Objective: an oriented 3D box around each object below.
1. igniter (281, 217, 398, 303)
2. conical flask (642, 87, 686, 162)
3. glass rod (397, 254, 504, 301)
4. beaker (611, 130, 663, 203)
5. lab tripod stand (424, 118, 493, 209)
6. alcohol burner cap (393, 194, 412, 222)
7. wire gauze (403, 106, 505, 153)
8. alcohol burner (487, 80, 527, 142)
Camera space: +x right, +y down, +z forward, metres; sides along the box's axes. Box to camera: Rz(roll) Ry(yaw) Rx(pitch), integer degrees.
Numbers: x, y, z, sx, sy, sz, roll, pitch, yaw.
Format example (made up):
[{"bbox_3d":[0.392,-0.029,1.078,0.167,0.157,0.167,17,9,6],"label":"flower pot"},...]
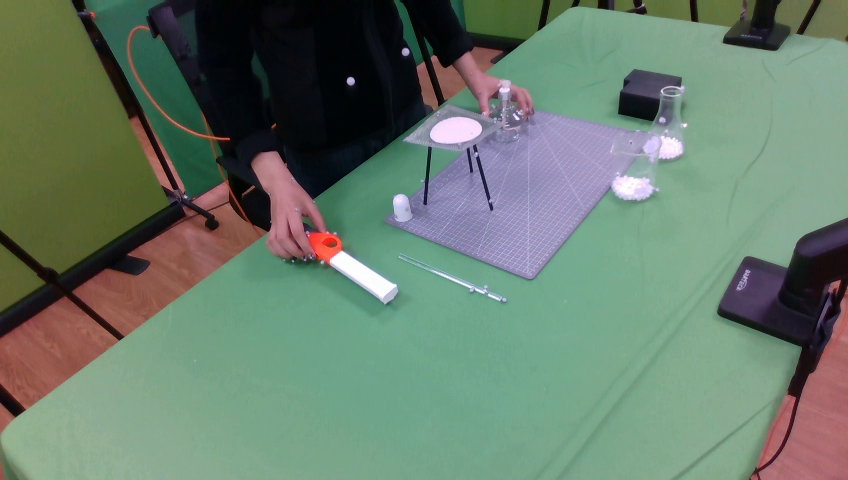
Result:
[{"bbox_3d":[-0.144,0.025,0.961,0.274,0.025,0.057,30,55,36],"label":"igniter"},{"bbox_3d":[0.429,-0.206,1.067,0.075,0.122,0.075,-6,40,6],"label":"conical flask"},{"bbox_3d":[0.036,0.054,0.922,0.198,0.008,0.008,21,49,31],"label":"glass rod"},{"bbox_3d":[0.346,-0.118,0.998,0.084,0.101,0.073,-17,40,-7],"label":"beaker"},{"bbox_3d":[0.061,-0.133,1.038,0.148,0.132,0.147,-6,38,6],"label":"lab tripod stand"},{"bbox_3d":[-0.039,-0.057,1.038,0.034,0.048,0.033,-5,40,5],"label":"alcohol burner cap"},{"bbox_3d":[0.049,-0.181,0.992,0.120,0.011,0.125,23,48,34],"label":"wire gauze"},{"bbox_3d":[0.160,-0.254,1.178,0.078,0.119,0.077,-7,39,6],"label":"alcohol burner"}]
